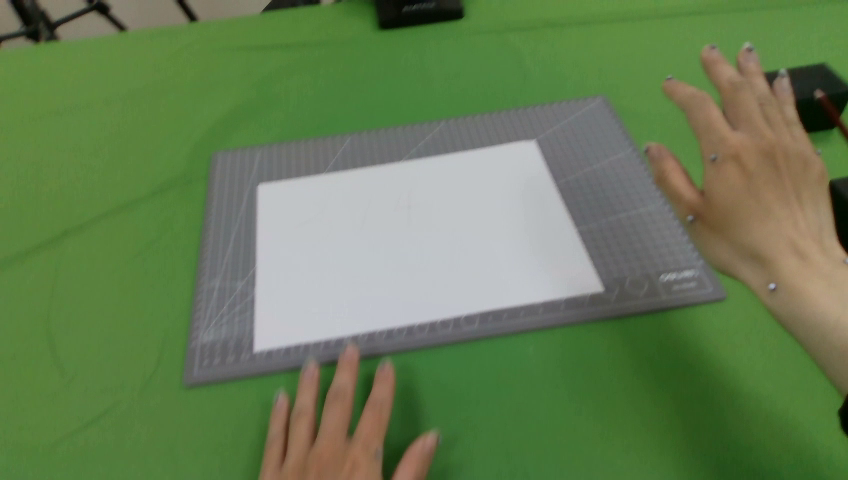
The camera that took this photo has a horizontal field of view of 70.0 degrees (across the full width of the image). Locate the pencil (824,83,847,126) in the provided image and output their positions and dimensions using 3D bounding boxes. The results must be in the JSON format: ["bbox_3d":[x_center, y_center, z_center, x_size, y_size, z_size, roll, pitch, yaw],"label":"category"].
[{"bbox_3d":[0.389,-0.084,0.532,0.012,0.012,0.192,-1,47,6],"label":"pencil"}]
